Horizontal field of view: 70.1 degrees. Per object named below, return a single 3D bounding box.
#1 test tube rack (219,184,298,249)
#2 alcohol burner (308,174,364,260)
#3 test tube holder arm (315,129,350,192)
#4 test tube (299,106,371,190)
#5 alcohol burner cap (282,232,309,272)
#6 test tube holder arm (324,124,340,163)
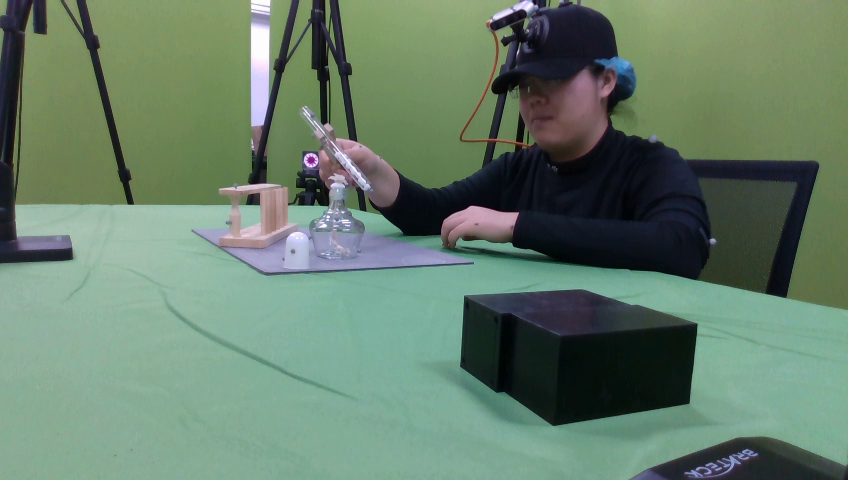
[{"bbox_3d":[-0.266,-0.045,1.001,0.067,0.085,0.242,3,7,0],"label":"test tube rack"},{"bbox_3d":[-0.121,-0.033,0.841,0.078,0.119,0.078,3,5,0],"label":"alcohol burner"},{"bbox_3d":[-0.132,-0.113,0.893,0.013,0.015,0.178,-32,-19,-8],"label":"test tube holder arm"},{"bbox_3d":[-0.122,-0.125,0.826,0.017,0.150,0.017,-38,-10,-8],"label":"test tube"},{"bbox_3d":[-0.157,0.014,0.740,0.034,0.048,0.034,3,6,0],"label":"alcohol burner cap"},{"bbox_3d":[-0.129,-0.133,0.852,0.010,0.015,0.088,-30,-19,-14],"label":"test tube holder arm"}]
